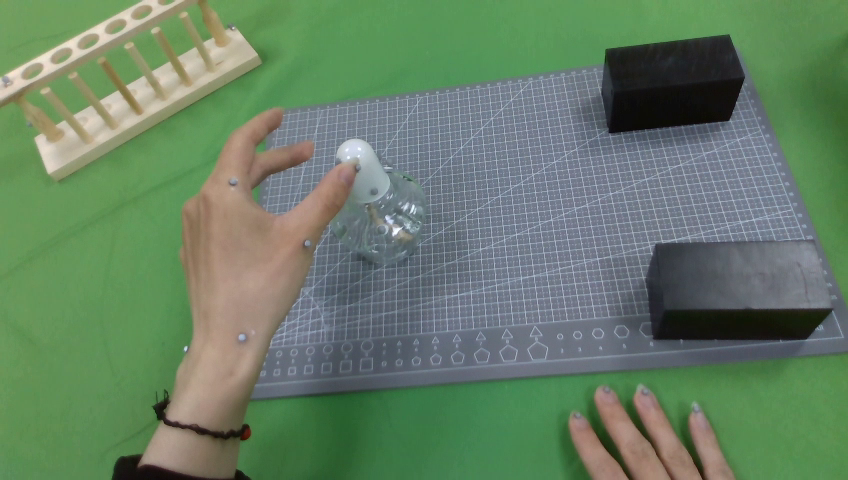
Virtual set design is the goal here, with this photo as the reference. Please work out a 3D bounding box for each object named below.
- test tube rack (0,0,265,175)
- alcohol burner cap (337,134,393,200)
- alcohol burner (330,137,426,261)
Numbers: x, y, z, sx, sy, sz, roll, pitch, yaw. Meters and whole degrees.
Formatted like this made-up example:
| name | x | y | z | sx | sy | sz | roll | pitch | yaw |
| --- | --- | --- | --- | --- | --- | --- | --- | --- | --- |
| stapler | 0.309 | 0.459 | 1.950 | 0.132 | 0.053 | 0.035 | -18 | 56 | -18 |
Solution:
| name | x | y | z | sx | sy | sz | roll | pitch | yaw |
| --- | --- | --- | --- | --- | --- | --- | --- | --- | --- |
| test tube rack | -0.296 | -0.174 | 0.620 | 0.242 | 0.086 | 0.066 | -33 | 59 | -10 |
| alcohol burner cap | -0.044 | -0.055 | 0.436 | 0.034 | 0.048 | 0.033 | -8 | 54 | 11 |
| alcohol burner | -0.039 | -0.036 | 0.466 | 0.078 | 0.120 | 0.077 | -5 | 56 | 8 |
